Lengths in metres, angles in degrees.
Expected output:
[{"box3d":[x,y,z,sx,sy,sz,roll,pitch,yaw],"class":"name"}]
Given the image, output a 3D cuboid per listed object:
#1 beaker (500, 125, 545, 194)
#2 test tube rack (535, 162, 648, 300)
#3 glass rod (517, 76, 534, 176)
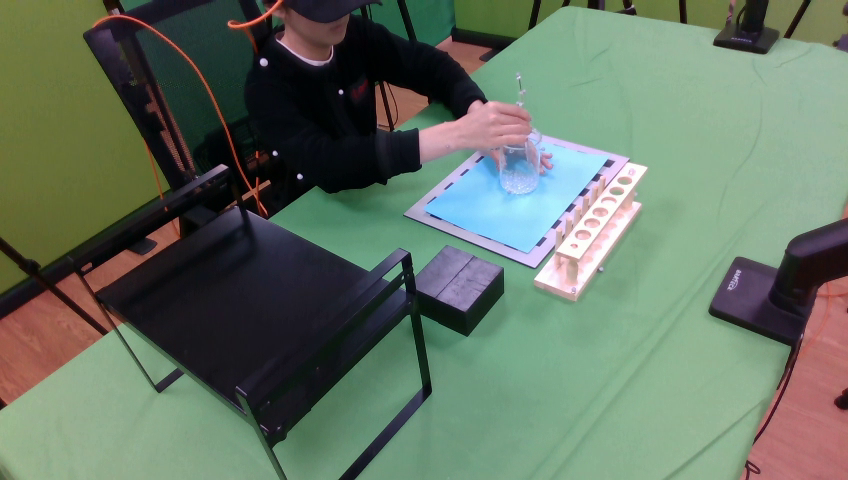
[{"box3d":[0.168,-0.138,1.046,0.074,0.101,0.083,-8,41,-1],"class":"beaker"},{"box3d":[0.257,-0.024,0.916,0.066,0.085,0.243,22,49,30],"class":"test tube rack"},{"box3d":[0.172,-0.186,1.013,0.008,0.201,0.008,-9,43,9],"class":"glass rod"}]
